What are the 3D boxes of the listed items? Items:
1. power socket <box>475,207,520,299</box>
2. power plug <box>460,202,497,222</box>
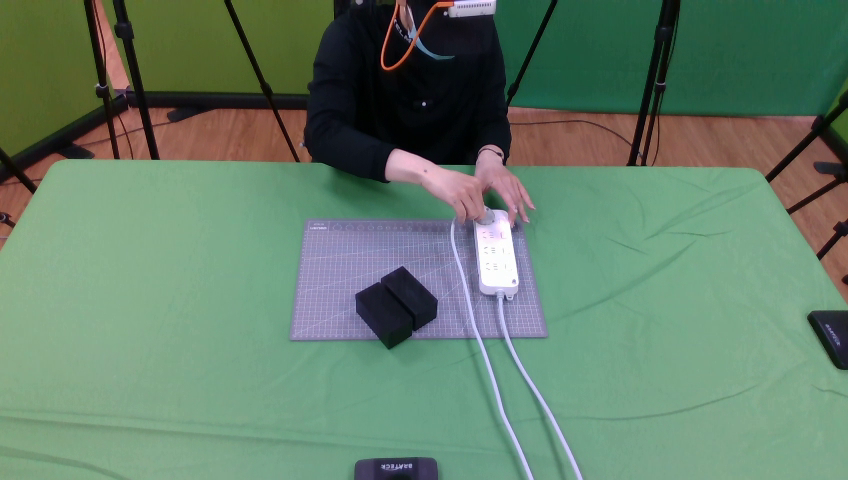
[{"bbox_3d":[0.140,0.016,1.174,0.072,0.033,0.225,2,47,-1],"label":"power socket"},{"bbox_3d":[0.110,-0.054,1.209,0.072,0.053,0.035,8,49,10],"label":"power plug"}]
